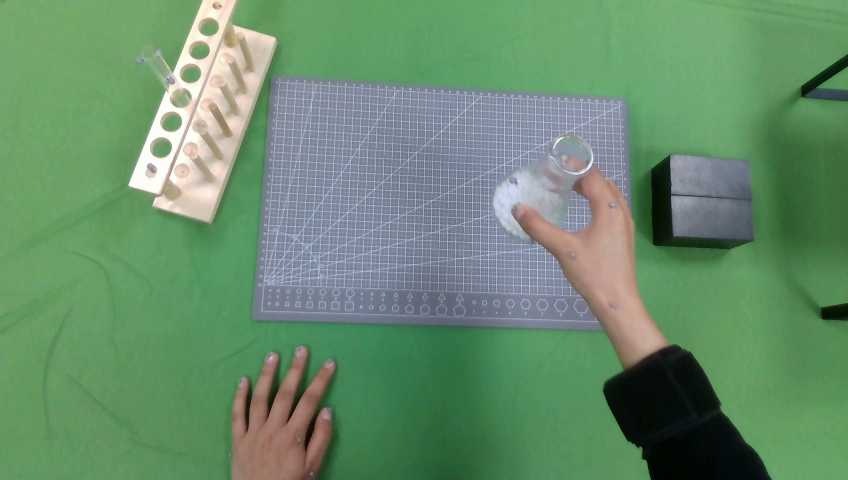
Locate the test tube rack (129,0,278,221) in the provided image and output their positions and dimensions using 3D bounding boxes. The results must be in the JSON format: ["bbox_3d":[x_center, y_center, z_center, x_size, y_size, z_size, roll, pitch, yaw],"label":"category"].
[{"bbox_3d":[-0.242,-0.152,0.687,0.067,0.085,0.241,16,77,-2],"label":"test tube rack"}]

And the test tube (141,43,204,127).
[{"bbox_3d":[-0.259,-0.157,0.636,0.017,0.151,0.017,1,74,-2],"label":"test tube"}]

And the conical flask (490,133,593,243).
[{"bbox_3d":[0.108,-0.049,0.532,0.075,0.122,0.075,3,71,-8],"label":"conical flask"}]
